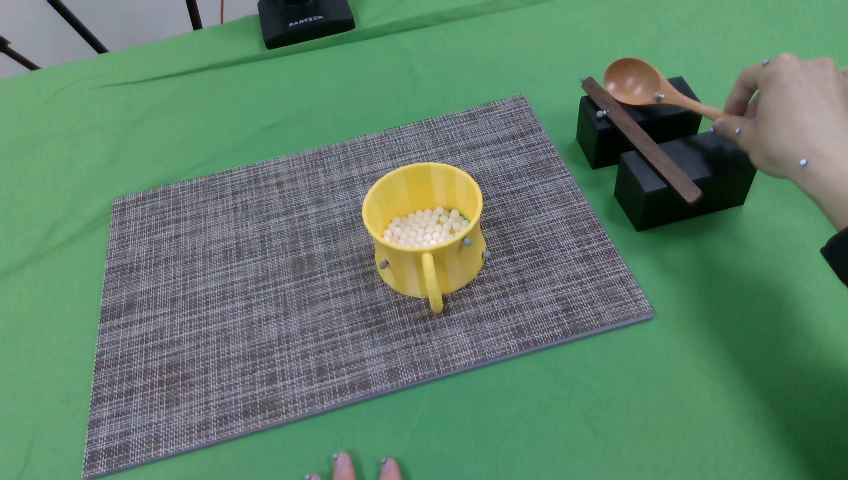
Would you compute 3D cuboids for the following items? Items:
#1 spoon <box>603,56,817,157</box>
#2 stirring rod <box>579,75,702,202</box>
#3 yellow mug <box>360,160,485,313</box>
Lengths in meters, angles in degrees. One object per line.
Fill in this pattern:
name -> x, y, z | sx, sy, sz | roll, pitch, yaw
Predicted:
spoon -> 0.236, -0.112, 0.518 | 0.022, 0.042, 0.191 | 7, 25, -47
stirring rod -> 0.184, -0.094, 0.531 | 0.014, 0.006, 0.174 | -44, 48, 21
yellow mug -> 0.002, 0.001, 0.506 | 0.100, 0.064, 0.129 | -9, 51, 1
